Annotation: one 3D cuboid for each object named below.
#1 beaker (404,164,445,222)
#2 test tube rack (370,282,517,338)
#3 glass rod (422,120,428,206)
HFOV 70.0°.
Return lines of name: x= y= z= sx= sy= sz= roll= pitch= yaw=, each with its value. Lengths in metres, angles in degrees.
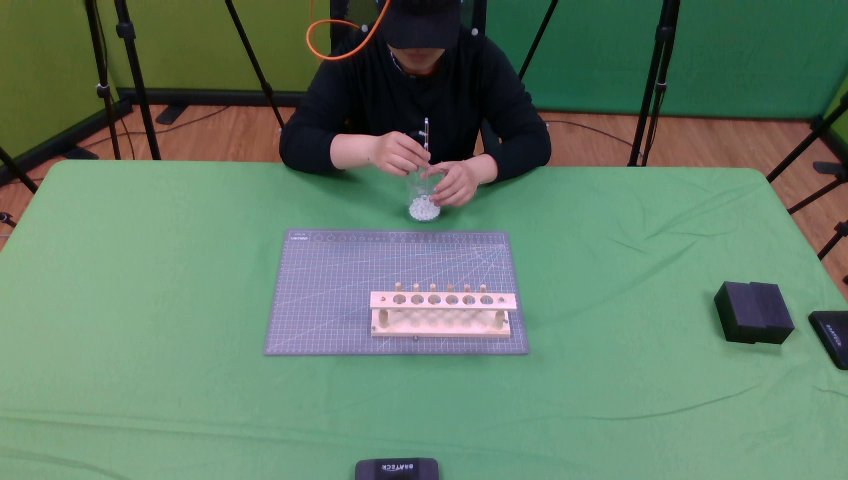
beaker: x=0.002 y=-0.093 z=1.226 sx=0.084 sy=0.101 sz=0.073 roll=-15 pitch=50 yaw=-13
test tube rack: x=0.030 y=0.116 z=1.041 sx=0.242 sy=0.085 sz=0.066 roll=1 pitch=46 yaw=-3
glass rod: x=0.001 y=-0.143 z=1.172 sx=0.008 sy=0.201 sz=0.008 roll=1 pitch=43 yaw=-1
